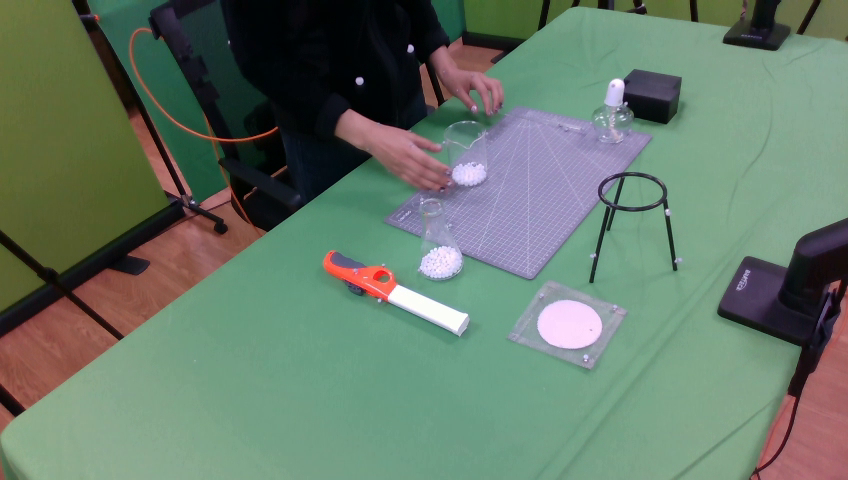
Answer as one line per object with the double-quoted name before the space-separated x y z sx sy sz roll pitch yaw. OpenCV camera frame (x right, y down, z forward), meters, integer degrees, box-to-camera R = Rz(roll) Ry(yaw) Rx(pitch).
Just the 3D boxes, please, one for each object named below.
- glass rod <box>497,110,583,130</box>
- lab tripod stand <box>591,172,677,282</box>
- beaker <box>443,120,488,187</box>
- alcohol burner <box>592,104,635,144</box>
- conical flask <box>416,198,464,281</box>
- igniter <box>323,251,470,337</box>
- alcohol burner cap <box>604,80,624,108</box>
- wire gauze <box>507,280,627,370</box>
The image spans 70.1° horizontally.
"glass rod" 0.233 -0.245 1.235 0.198 0.008 0.008 21 49 34
"lab tripod stand" 0.292 -0.022 0.867 0.148 0.132 0.147 -7 39 6
"beaker" 0.078 -0.150 1.083 0.074 0.101 0.083 -9 41 1
"alcohol burner" 0.353 -0.242 1.126 0.078 0.119 0.077 -5 38 5
"conical flask" 0.019 -0.004 0.907 0.075 0.122 0.075 -5 40 5
"igniter" -0.052 0.075 0.901 0.274 0.025 0.057 22 60 32
"alcohol burner cap" 0.350 -0.269 1.102 0.034 0.048 0.033 -2 46 2
"wire gauze" 0.196 0.114 0.823 0.120 0.011 0.125 20 50 31
